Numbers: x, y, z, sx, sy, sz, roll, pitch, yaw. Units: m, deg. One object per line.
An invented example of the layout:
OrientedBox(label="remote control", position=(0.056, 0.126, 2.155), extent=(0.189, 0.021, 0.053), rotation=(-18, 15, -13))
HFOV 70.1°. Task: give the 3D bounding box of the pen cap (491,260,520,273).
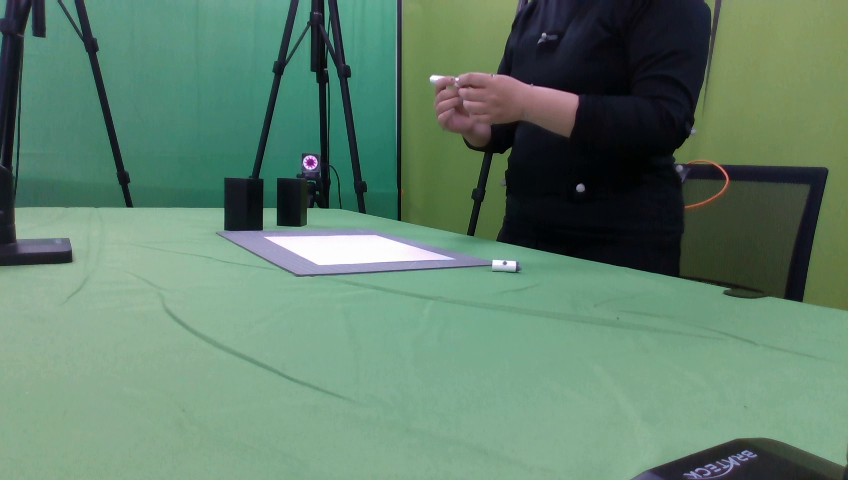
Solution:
OrientedBox(label="pen cap", position=(0.110, 0.036, 0.813), extent=(0.038, 0.017, 0.017), rotation=(3, 7, 7))

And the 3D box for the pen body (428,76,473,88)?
OrientedBox(label="pen body", position=(0.049, -0.289, 1.108), extent=(0.017, 0.017, 0.143), rotation=(-1, 16, -30))
